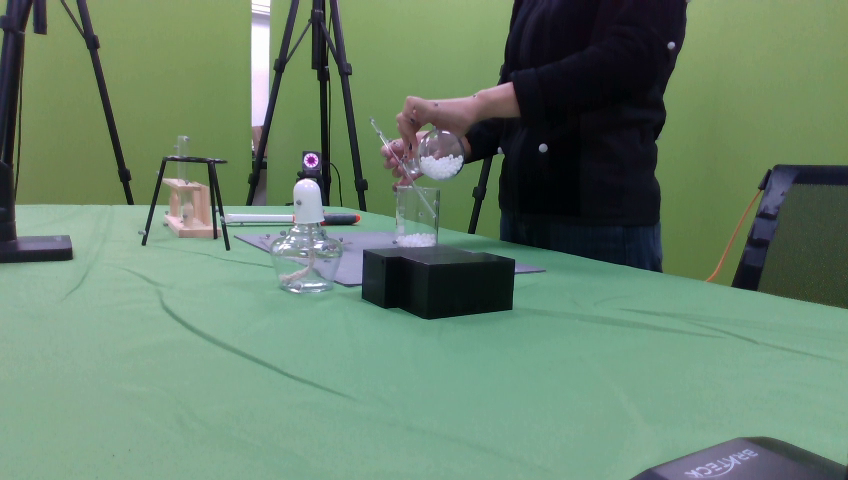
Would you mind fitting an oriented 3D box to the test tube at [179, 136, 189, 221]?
[{"bbox_3d":[-0.425,-0.108,1.070,0.017,0.150,0.017,4,9,0],"label":"test tube"}]

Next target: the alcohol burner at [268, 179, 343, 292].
[{"bbox_3d":[-0.124,-0.005,0.637,0.078,0.119,0.078,4,8,0],"label":"alcohol burner"}]

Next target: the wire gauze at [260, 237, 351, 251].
[{"bbox_3d":[-0.185,0.004,0.938,0.122,0.011,0.124,-1,5,-24],"label":"wire gauze"}]

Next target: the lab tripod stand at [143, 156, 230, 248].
[{"bbox_3d":[-0.338,-0.058,0.908,0.148,0.131,0.148,4,7,0],"label":"lab tripod stand"}]

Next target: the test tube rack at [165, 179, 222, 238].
[{"bbox_3d":[-0.423,-0.062,1.098,0.067,0.085,0.241,-2,9,-28],"label":"test tube rack"}]

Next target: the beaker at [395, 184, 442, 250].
[{"bbox_3d":[-0.009,-0.038,0.968,0.074,0.100,0.084,6,8,21],"label":"beaker"}]

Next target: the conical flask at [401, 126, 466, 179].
[{"bbox_3d":[0.005,-0.125,0.909,0.076,0.075,0.121,-1,1,-24],"label":"conical flask"}]

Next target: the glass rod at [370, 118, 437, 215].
[{"bbox_3d":[-0.034,-0.120,0.971,0.008,0.199,0.008,-31,-15,-9],"label":"glass rod"}]

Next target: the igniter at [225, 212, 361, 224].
[{"bbox_3d":[-0.262,-0.045,1.240,0.278,0.025,0.057,-2,-1,-30],"label":"igniter"}]

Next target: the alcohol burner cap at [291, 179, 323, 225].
[{"bbox_3d":[-0.124,-0.040,0.632,0.034,0.048,0.034,-3,10,1],"label":"alcohol burner cap"}]
